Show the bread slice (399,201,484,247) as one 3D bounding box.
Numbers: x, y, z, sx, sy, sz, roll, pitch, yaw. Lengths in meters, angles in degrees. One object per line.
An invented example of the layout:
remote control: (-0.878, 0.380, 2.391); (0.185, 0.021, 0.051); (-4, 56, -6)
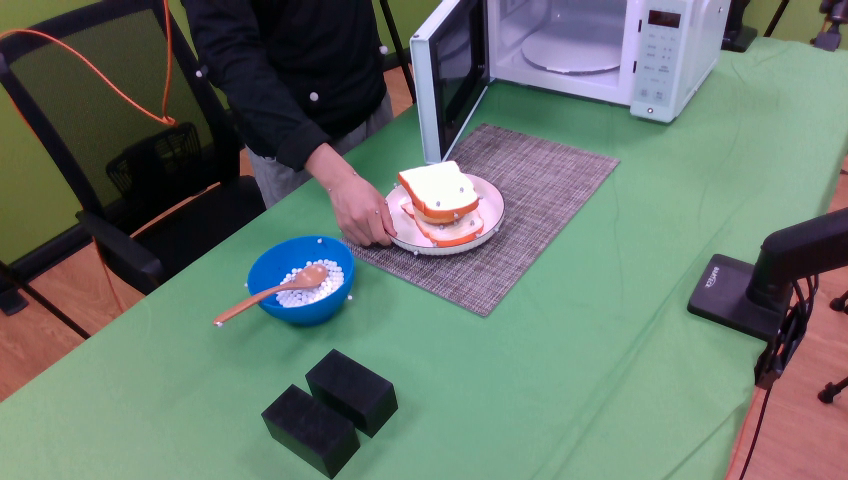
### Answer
bread slice: (0.036, -0.038, 0.990); (0.107, 0.018, 0.133); (-23, 43, -18)

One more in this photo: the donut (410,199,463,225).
donut: (0.028, -0.062, 0.978); (0.099, 0.048, 0.098); (-5, 39, 4)

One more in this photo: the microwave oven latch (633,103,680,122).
microwave oven latch: (0.444, -0.249, 1.157); (0.078, 0.029, 0.030); (21, 49, 30)

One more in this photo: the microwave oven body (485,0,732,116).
microwave oven body: (0.377, -0.462, 1.267); (0.438, 0.261, 0.327); (21, 48, 30)

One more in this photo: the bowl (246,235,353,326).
bowl: (-0.170, 0.070, 0.868); (0.151, 0.077, 0.150); (-4, 41, 4)

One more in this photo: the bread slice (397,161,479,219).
bread slice: (0.028, -0.081, 0.952); (0.105, 0.019, 0.130); (-15, 43, -18)

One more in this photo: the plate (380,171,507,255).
plate: (0.033, -0.042, 0.995); (0.207, 0.039, 0.206); (-4, 40, 4)

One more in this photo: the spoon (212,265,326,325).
spoon: (-0.208, 0.072, 0.822); (0.041, 0.021, 0.195); (26, 28, 27)

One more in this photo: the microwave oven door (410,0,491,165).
microwave oven door: (0.062, -0.342, 1.164); (0.039, 0.245, 0.355); (9, 43, 18)
